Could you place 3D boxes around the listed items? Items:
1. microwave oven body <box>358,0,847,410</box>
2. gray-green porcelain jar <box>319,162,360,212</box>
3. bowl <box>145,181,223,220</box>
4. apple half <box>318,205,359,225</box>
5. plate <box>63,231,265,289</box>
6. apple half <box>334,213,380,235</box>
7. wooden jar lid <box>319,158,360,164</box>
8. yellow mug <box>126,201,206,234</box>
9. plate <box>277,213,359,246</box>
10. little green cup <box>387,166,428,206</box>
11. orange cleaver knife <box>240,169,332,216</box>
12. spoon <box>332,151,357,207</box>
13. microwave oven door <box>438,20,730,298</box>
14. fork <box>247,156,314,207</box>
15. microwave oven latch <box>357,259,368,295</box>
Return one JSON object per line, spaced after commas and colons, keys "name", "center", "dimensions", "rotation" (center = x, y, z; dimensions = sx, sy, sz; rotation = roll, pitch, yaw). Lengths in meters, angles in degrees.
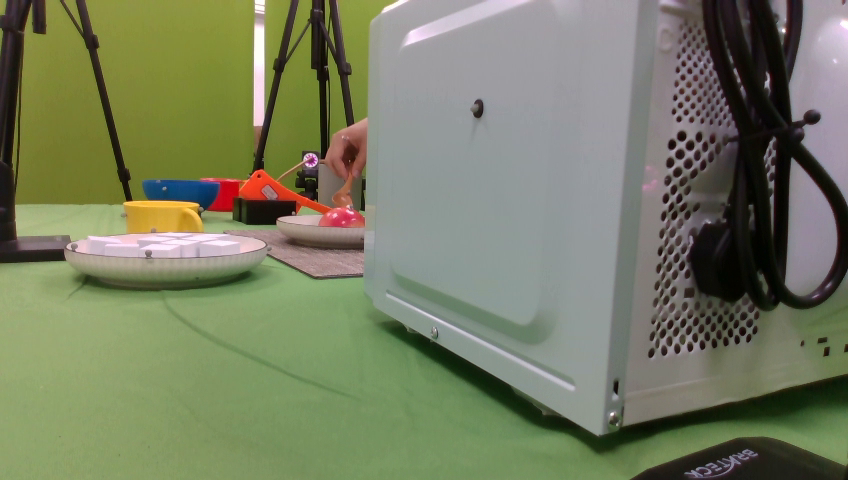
{"name": "microwave oven body", "center": [0.210, -0.051, 0.471], "dimensions": [0.444, 0.260, 0.324], "rotation": [-1, 7, -28]}
{"name": "gray-green porcelain jar", "center": [-0.204, -0.126, 1.489], "dimensions": [0.106, 0.126, 0.106], "rotation": [2, 7, 0]}
{"name": "bowl", "center": [-0.499, -0.081, 1.261], "dimensions": [0.151, 0.077, 0.151], "rotation": [2, 7, 0]}
{"name": "apple half", "center": [-0.126, -0.028, 0.954], "dimensions": [0.081, 0.053, 0.074], "rotation": [-2, 11, -33]}
{"name": "plate", "center": [-0.288, 0.021, 0.687], "dimensions": [0.208, 0.039, 0.207], "rotation": [2, 8, 0]}
{"name": "apple half", "center": [-0.112, -0.029, 1.034], "dimensions": [0.081, 0.033, 0.081], "rotation": [-1, 10, 0]}
{"name": "wooden jar lid", "center": [-0.203, -0.189, 1.482], "dimensions": [0.108, 0.020, 0.108], "rotation": [2, 10, 0]}
{"name": "yellow mug", "center": [-0.360, -0.019, 0.866], "dimensions": [0.130, 0.064, 0.100], "rotation": [6, 9, 27]}
{"name": "plate", "center": [-0.135, -0.018, 0.994], "dimensions": [0.209, 0.038, 0.209], "rotation": [2, 7, 0]}
{"name": "little green cup", "center": [-0.025, -0.086, 0.978], "dimensions": [0.061, 0.038, 0.061], "rotation": [-37, -6, -4]}
{"name": "orange cleaver knife", "center": [-0.286, -0.082, 1.298], "dimensions": [0.212, 0.077, 0.012], "rotation": [25, -2, -31]}
{"name": "spoon", "center": [-0.134, -0.110, 1.082], "dimensions": [0.042, 0.021, 0.193], "rotation": [26, 37, -17]}
{"name": "microwave oven door", "center": [0.181, -0.076, 0.618], "dimensions": [0.358, 0.243, 0.039], "rotation": [-2, 8, -28]}
{"name": "fork", "center": [-0.360, -0.147, 1.523], "dimensions": [0.207, 0.018, 0.028], "rotation": [-43, 14, -7]}
{"name": "microwave oven latch", "center": [-0.019, 0.031, 0.529], "dimensions": [0.079, 0.029, 0.030], "rotation": [-1, 7, -26]}
